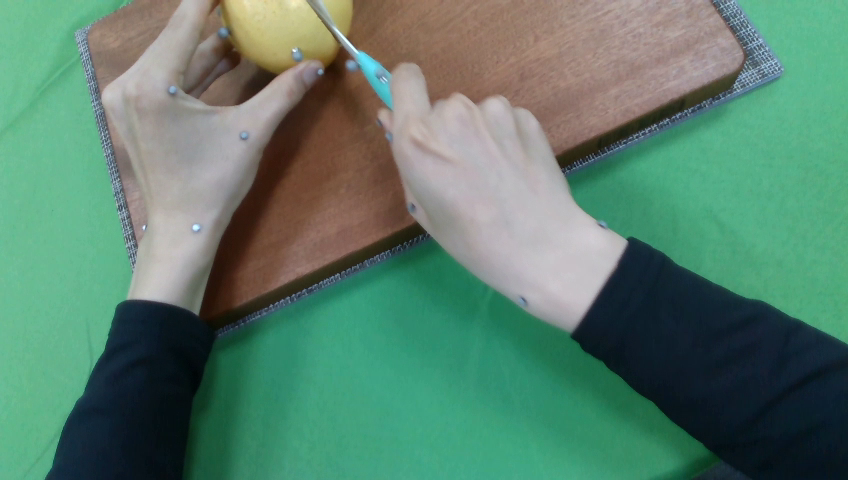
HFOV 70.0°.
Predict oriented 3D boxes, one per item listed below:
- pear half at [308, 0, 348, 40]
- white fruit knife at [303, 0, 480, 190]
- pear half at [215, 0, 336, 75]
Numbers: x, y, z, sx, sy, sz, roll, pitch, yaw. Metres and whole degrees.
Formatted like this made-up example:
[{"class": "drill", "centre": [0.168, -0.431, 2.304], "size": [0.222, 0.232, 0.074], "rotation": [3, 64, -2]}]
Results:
[{"class": "pear half", "centre": [-0.070, -0.168, 0.382], "size": [0.031, 0.089, 0.070], "rotation": [-42, 66, -9]}, {"class": "white fruit knife", "centre": [-0.036, -0.105, 0.367], "size": [0.016, 0.027, 0.205], "rotation": [-40, 67, -4]}, {"class": "pear half", "centre": [-0.103, -0.143, 0.370], "size": [0.056, 0.111, 0.076], "rotation": [-46, 67, -3]}]
